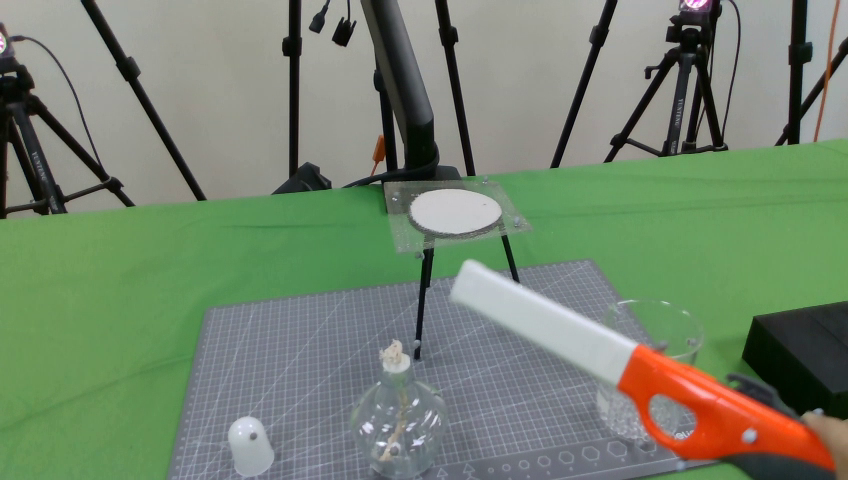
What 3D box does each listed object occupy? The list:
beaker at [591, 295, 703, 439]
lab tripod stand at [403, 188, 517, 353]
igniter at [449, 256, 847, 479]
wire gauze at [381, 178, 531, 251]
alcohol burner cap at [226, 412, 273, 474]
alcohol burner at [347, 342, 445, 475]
[{"bbox_3d":[0.175,0.105,0.497,0.074,0.101,0.083,-16,34,-21],"label":"beaker"},{"bbox_3d":[0.032,0.024,0.604,0.148,0.132,0.147,0,30,1],"label":"lab tripod stand"},{"bbox_3d":[0.130,0.079,0.357,0.274,0.057,0.025,28,8,31],"label":"igniter"},{"bbox_3d":[0.025,-0.031,0.565,0.122,0.011,0.124,-5,32,-8],"label":"wire gauze"},{"bbox_3d":[-0.141,0.159,0.484,0.034,0.048,0.033,-1,33,1],"label":"alcohol burner cap"},{"bbox_3d":[-0.022,0.123,0.466,0.078,0.120,0.077,-1,34,1],"label":"alcohol burner"}]
